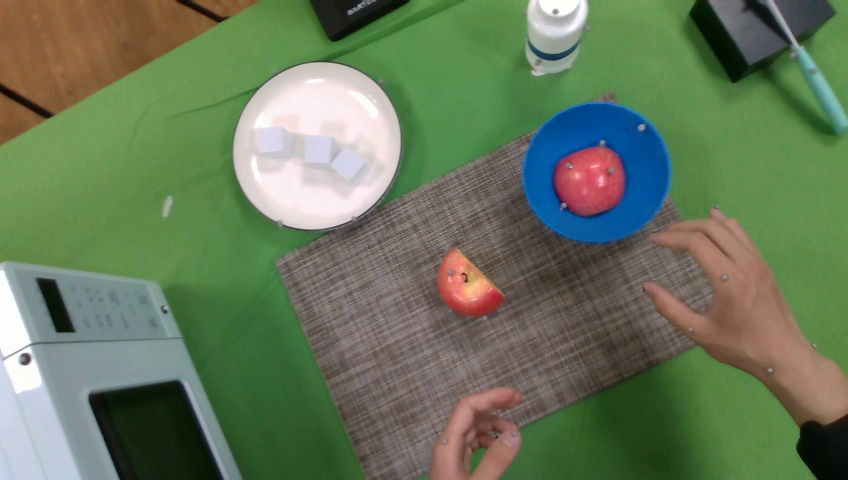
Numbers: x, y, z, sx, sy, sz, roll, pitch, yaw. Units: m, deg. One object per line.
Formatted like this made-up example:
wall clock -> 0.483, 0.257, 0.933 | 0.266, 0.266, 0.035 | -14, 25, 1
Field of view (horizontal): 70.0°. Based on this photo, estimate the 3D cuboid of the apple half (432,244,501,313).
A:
apple half -> 0.040, 0.050, 0.670 | 0.080, 0.075, 0.053 | 44, 95, 6

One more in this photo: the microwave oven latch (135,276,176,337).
microwave oven latch -> -0.324, 0.082, 0.713 | 0.030, 0.029, 0.079 | -29, 82, 2

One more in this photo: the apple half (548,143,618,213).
apple half -> 0.177, -0.070, 0.659 | 0.081, 0.033, 0.081 | -1, 82, 8

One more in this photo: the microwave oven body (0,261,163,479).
microwave oven body -> -0.386, 0.293, 0.598 | 0.326, 0.261, 0.440 | -28, 81, 2

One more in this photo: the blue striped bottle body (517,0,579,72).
blue striped bottle body -> 0.136, -0.239, 0.671 | 0.063, 0.121, 0.063 | -1, 83, 7

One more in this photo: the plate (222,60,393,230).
plate -> -0.137, -0.111, 0.732 | 0.207, 0.039, 0.207 | -1, 83, 6

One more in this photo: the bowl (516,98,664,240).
bowl -> 0.176, -0.070, 0.664 | 0.151, 0.077, 0.151 | -1, 83, 7

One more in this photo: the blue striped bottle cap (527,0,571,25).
blue striped bottle cap -> 0.128, -0.246, 0.620 | 0.044, 0.021, 0.044 | -1, 82, 6

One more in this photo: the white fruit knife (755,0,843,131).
white fruit knife -> 0.394, -0.204, 0.653 | 0.016, 0.027, 0.208 | -34, 97, 19

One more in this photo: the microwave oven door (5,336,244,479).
microwave oven door -> -0.238, 0.260, 0.579 | 0.039, 0.245, 0.354 | -29, 81, 3
